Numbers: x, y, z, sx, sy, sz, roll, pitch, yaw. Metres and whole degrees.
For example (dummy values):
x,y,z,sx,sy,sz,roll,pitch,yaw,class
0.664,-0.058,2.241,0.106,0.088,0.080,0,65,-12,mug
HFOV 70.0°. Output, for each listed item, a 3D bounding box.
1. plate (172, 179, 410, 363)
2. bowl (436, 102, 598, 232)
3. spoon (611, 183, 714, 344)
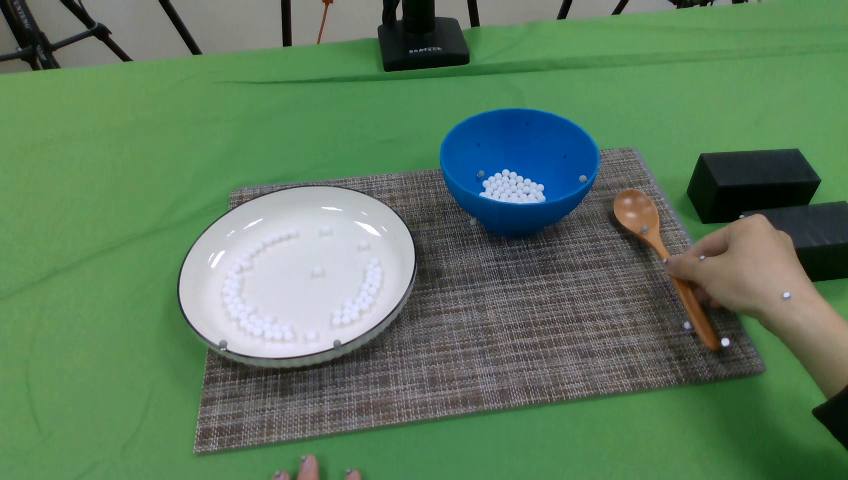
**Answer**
x,y,z,sx,sy,sz,roll,pitch,yaw,class
-0.115,0.026,0.547,0.208,0.039,0.205,-1,46,1,plate
0.087,-0.061,0.594,0.151,0.077,0.150,-1,46,1,bowl
0.215,0.014,0.550,0.041,0.022,0.191,-9,42,0,spoon
